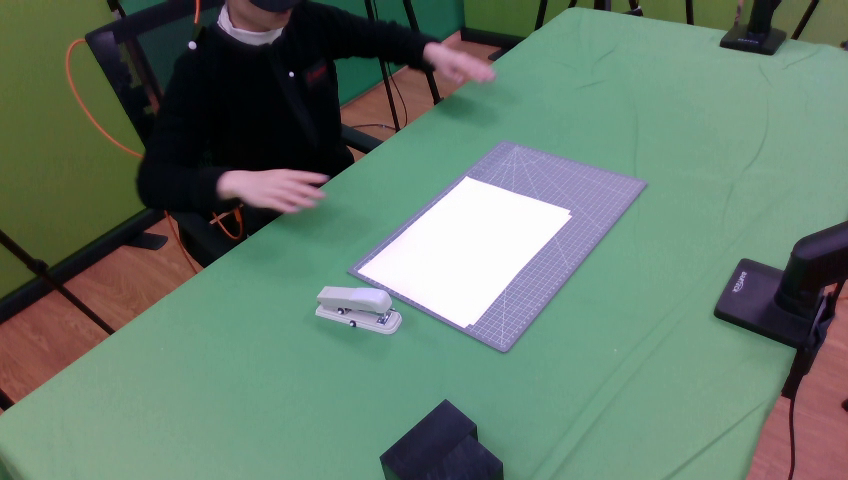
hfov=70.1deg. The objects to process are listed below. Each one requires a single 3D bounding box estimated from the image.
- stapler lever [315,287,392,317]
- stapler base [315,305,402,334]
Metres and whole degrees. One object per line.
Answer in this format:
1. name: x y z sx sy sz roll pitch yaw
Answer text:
1. stapler lever: -0.101 0.082 0.852 0.117 0.040 0.027 10 42 22
2. stapler base: -0.096 0.102 0.868 0.130 0.024 0.041 10 41 22
